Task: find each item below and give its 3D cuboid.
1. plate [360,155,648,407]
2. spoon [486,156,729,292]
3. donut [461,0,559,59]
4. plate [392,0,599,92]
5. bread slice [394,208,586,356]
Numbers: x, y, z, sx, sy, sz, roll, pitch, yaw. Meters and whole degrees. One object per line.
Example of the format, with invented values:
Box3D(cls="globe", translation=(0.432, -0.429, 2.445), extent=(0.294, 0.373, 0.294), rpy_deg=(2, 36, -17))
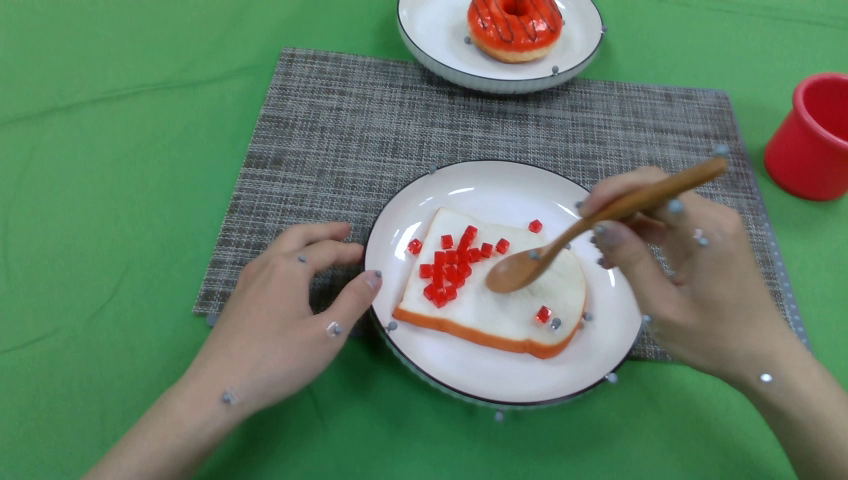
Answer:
Box3D(cls="plate", translation=(0.057, 0.025, 0.452), extent=(0.209, 0.038, 0.207), rpy_deg=(2, 56, -2))
Box3D(cls="spoon", translation=(0.093, -0.005, 0.356), extent=(0.022, 0.194, 0.041), rpy_deg=(41, 59, -5))
Box3D(cls="donut", translation=(0.086, -0.222, 0.608), extent=(0.099, 0.048, 0.098), rpy_deg=(3, 57, -4))
Box3D(cls="plate", translation=(0.071, -0.217, 0.618), extent=(0.208, 0.039, 0.205), rpy_deg=(3, 54, -3))
Box3D(cls="bread slice", translation=(0.055, 0.029, 0.453), extent=(0.131, 0.019, 0.104), rpy_deg=(14, 56, 8))
